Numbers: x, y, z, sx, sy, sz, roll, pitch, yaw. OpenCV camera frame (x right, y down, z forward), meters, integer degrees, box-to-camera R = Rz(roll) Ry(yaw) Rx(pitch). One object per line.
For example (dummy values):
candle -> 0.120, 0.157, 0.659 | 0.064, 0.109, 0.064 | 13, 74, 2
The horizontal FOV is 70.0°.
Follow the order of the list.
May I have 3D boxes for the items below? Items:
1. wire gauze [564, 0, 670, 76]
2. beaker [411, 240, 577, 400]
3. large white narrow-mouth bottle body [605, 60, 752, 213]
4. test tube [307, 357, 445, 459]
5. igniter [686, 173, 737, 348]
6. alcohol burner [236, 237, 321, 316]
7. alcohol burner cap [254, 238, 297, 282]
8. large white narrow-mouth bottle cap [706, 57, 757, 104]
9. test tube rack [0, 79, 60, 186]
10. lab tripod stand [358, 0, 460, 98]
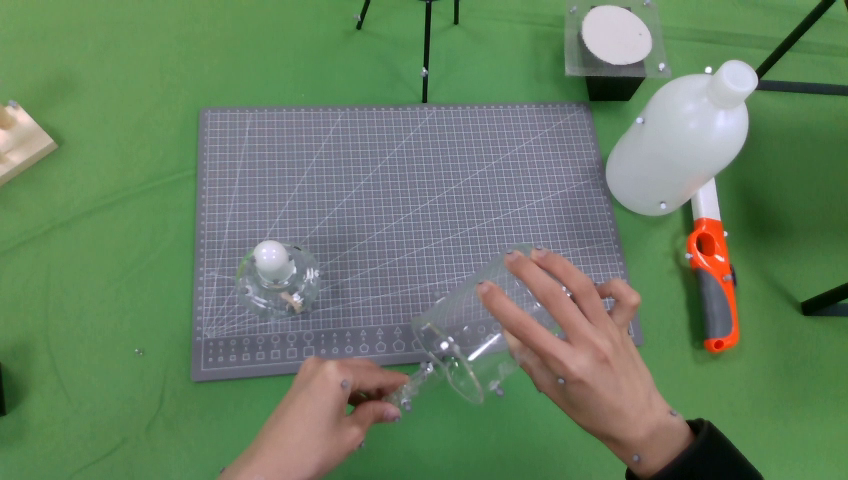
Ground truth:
wire gauze -> 0.223, -0.244, 0.711 | 0.121, 0.011, 0.124 | 4, 68, -5
beaker -> 0.052, 0.054, 0.433 | 0.100, 0.084, 0.073 | -36, 76, -18
large white narrow-mouth bottle body -> 0.264, -0.109, 0.616 | 0.102, 0.195, 0.101 | 2, 68, -5
test tube -> -0.041, 0.136, 0.480 | 0.150, 0.017, 0.017 | -39, 73, 23
igniter -> 0.315, -0.015, 0.676 | 0.057, 0.025, 0.274 | 10, 68, -17
alcohol burner -> -0.134, 0.028, 0.554 | 0.078, 0.119, 0.077 | 3, 67, -8
alcohol burner cap -> -0.130, 0.016, 0.520 | 0.034, 0.048, 0.033 | 1, 73, -3
large white narrow-mouth bottle cap -> 0.272, -0.142, 0.538 | 0.038, 0.024, 0.037 | 2, 68, -5
test tube rack -> -0.483, -0.058, 0.561 | 0.066, 0.085, 0.242 | 43, 70, 10
lab tripod stand -> -0.004, -0.255, 0.673 | 0.149, 0.132, 0.147 | 3, 69, -8
